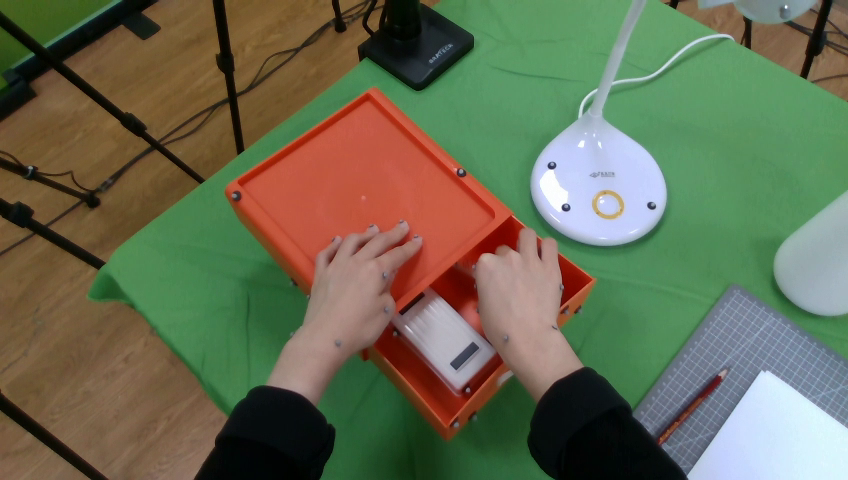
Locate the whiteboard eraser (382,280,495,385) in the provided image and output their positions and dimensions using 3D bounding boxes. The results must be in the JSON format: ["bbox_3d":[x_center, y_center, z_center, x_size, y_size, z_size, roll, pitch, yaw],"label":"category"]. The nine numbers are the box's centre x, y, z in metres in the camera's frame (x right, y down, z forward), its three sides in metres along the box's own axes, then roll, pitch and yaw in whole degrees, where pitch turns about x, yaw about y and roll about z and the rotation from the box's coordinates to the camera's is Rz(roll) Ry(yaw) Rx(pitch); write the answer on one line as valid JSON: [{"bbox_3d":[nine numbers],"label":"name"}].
[{"bbox_3d":[0.010,0.083,0.581,0.055,0.042,0.111,-39,61,-20],"label":"whiteboard eraser"}]

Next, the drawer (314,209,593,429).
[{"bbox_3d":[0.018,0.038,0.590,0.194,0.074,0.210,-41,68,-18],"label":"drawer"}]

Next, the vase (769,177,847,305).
[{"bbox_3d":[0.423,-0.013,0.590,0.098,0.201,0.097,-1,61,2],"label":"vase"}]

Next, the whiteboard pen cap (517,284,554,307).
[{"bbox_3d":[0.105,0.052,0.574,0.033,0.018,0.018,11,59,35],"label":"whiteboard pen cap"}]

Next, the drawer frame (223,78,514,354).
[{"bbox_3d":[-0.055,-0.029,0.622,0.201,0.083,0.212,-40,73,-17],"label":"drawer frame"}]

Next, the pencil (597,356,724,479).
[{"bbox_3d":[0.238,0.175,0.598,0.194,0.012,0.012,-36,67,-19],"label":"pencil"}]

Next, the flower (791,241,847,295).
[{"bbox_3d":[0.438,-0.060,0.522,0.038,0.364,0.044,27,47,7],"label":"flower"}]

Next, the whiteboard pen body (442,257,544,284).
[{"bbox_3d":[0.057,0.030,0.605,0.139,0.017,0.017,10,58,38],"label":"whiteboard pen body"}]

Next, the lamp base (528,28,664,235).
[{"bbox_3d":[0.200,-0.123,0.663,0.161,0.182,0.177,-12,59,-5],"label":"lamp base"}]
